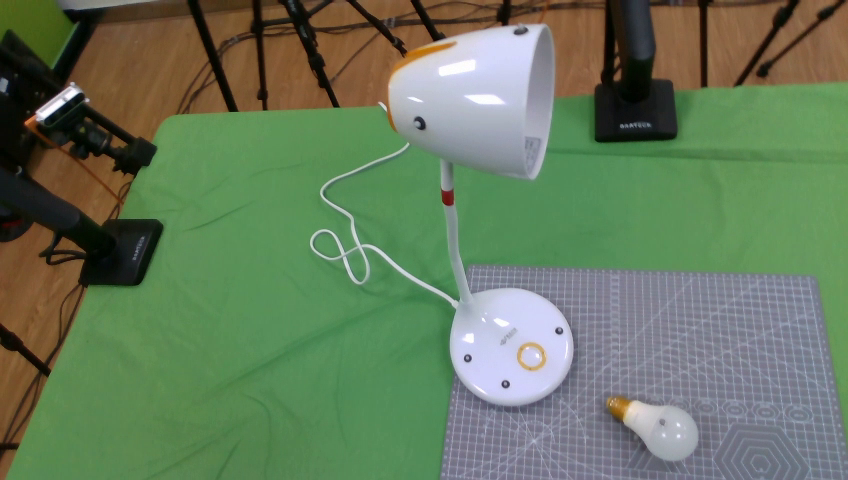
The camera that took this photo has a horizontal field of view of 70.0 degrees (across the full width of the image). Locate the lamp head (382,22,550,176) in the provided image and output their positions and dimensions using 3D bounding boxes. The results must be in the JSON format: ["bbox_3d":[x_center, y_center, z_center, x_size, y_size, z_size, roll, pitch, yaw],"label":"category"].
[{"bbox_3d":[0.032,-0.106,0.469,0.122,0.113,0.111,4,61,23],"label":"lamp head"}]

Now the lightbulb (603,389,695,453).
[{"bbox_3d":[0.257,0.203,0.699,0.106,0.060,0.059,22,66,41],"label":"lightbulb"}]

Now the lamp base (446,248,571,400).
[{"bbox_3d":[0.083,0.086,0.731,0.178,0.182,0.160,26,68,29],"label":"lamp base"}]
